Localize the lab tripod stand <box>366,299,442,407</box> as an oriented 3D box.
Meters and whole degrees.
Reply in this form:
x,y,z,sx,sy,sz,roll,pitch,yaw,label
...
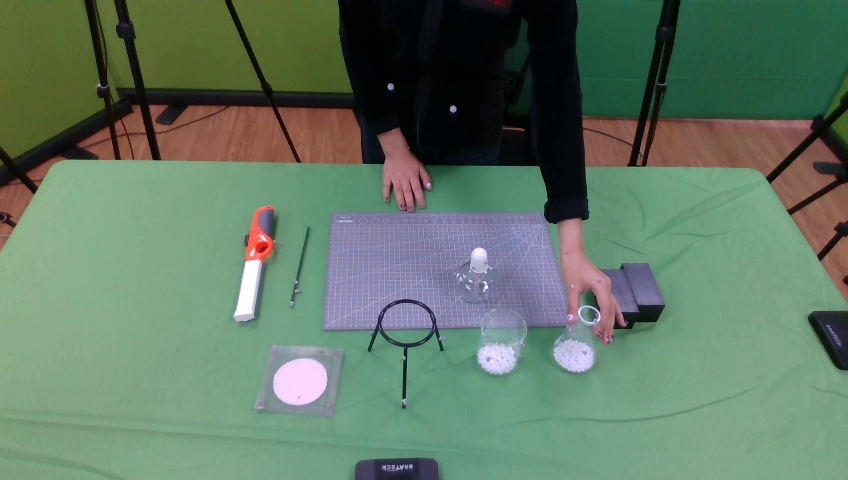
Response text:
x,y,z,sx,sy,sz,roll,pitch,yaw,label
-0.028,0.166,0.961,0.148,0.132,0.147,3,44,-2,lab tripod stand

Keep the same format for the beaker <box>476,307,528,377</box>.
x,y,z,sx,sy,sz,roll,pitch,yaw,label
0.122,0.171,0.991,0.084,0.101,0.073,-34,56,-30,beaker

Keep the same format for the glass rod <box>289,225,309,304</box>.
x,y,z,sx,sy,sz,roll,pitch,yaw,label
-0.235,0.043,1.149,0.008,0.008,0.198,3,46,-1,glass rod

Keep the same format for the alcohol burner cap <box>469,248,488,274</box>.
x,y,z,sx,sy,sz,roll,pitch,yaw,label
0.095,0.034,1.057,0.034,0.048,0.033,-3,52,3,alcohol burner cap

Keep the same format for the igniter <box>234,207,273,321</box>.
x,y,z,sx,sy,sz,roll,pitch,yaw,label
-0.319,0.035,1.137,0.057,0.025,0.274,-7,46,3,igniter

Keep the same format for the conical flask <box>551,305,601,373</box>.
x,y,z,sx,sy,sz,roll,pitch,yaw,label
0.257,0.158,0.998,0.075,0.122,0.075,2,46,-2,conical flask

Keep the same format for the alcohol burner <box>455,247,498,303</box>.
x,y,z,sx,sy,sz,roll,pitch,yaw,label
0.095,0.057,1.085,0.078,0.120,0.077,1,47,-1,alcohol burner

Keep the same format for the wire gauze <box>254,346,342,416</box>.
x,y,z,sx,sy,sz,roll,pitch,yaw,label
-0.201,0.223,0.978,0.125,0.011,0.121,4,45,1,wire gauze
